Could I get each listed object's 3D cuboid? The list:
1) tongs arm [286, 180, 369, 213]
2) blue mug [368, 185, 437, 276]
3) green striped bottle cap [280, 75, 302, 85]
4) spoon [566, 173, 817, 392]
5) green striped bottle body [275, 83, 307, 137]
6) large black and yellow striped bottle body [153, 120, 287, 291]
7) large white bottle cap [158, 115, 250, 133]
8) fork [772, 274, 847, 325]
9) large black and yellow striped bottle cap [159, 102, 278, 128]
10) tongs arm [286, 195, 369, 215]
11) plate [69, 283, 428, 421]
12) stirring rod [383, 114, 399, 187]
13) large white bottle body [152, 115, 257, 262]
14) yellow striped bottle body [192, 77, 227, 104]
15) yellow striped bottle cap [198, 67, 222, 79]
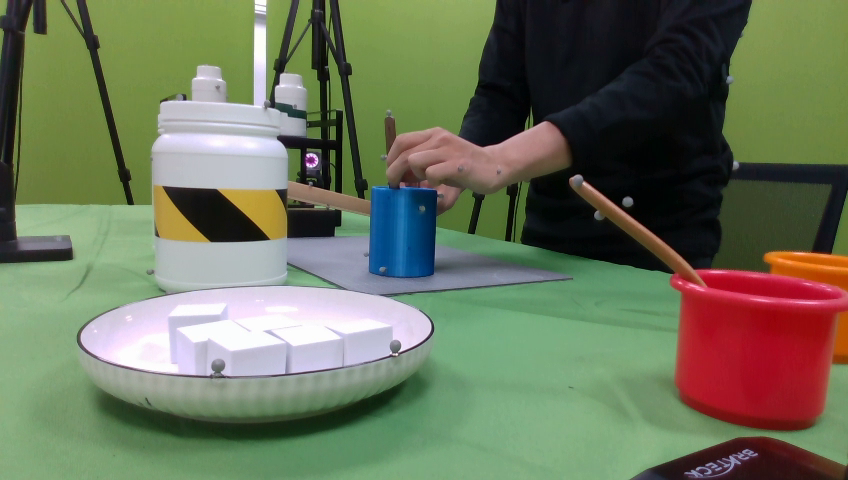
[{"bbox_3d":[-0.122,-0.066,1.147,0.387,0.026,0.050,11,-2,-37],"label":"tongs arm"},{"bbox_3d":[-0.026,-0.016,0.761,0.082,0.106,0.116,2,7,2],"label":"blue mug"},{"bbox_3d":[-0.267,-0.320,1.216,0.044,0.020,0.044,2,8,0],"label":"green striped bottle cap"},{"bbox_3d":[0.161,0.024,0.370,0.193,0.021,0.042,47,17,3],"label":"spoon"},{"bbox_3d":[-0.269,-0.269,1.221,0.063,0.119,0.063,2,7,0],"label":"green striped bottle body"},{"bbox_3d":[-0.208,-0.042,0.626,0.131,0.184,0.130,2,7,0],"label":"large black and yellow striped bottle body"},{"bbox_3d":[-0.291,-0.153,0.803,0.115,0.018,0.115,1,7,0],"label":"large white bottle cap"},{"bbox_3d":[0.332,0.019,0.444,0.028,0.018,0.207,0,-36,-14],"label":"fork"},{"bbox_3d":[-0.207,-0.125,0.615,0.115,0.019,0.115,2,6,0],"label":"large black and yellow striped bottle cap"},{"bbox_3d":[-0.165,-0.074,1.216,0.389,0.027,0.028,11,-6,-24],"label":"tongs arm"},{"bbox_3d":[-0.102,0.066,0.381,0.208,0.039,0.207,2,7,0],"label":"plate"},{"bbox_3d":[-0.036,-0.059,0.715,0.014,0.176,0.006,3,13,31],"label":"stirring rod"},{"bbox_3d":[-0.293,-0.070,0.813,0.131,0.184,0.130,2,7,0],"label":"large white bottle body"},{"bbox_3d":[-0.414,-0.268,1.169,0.063,0.120,0.063,2,7,0],"label":"yellow striped bottle body"},{"bbox_3d":[-0.412,-0.320,1.162,0.044,0.018,0.044,1,5,0],"label":"yellow striped bottle cap"}]
